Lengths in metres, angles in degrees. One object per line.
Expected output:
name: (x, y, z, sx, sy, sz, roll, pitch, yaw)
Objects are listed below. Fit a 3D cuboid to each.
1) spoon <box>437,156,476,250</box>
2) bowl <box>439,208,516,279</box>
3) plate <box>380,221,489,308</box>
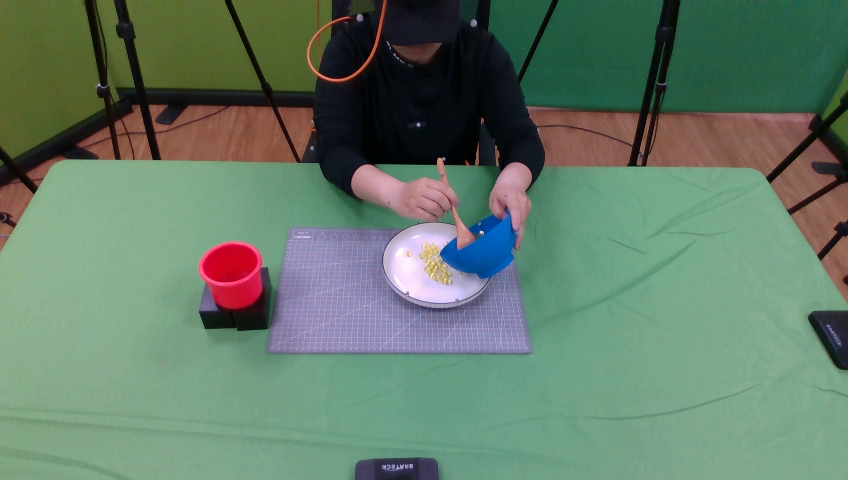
spoon: (0.054, -0.055, 1.071, 0.042, 0.021, 0.193, -17, 84, -21)
bowl: (0.110, 0.016, 1.078, 0.151, 0.151, 0.077, -40, 101, -33)
plate: (0.022, 0.048, 1.138, 0.208, 0.039, 0.206, 2, 46, -2)
